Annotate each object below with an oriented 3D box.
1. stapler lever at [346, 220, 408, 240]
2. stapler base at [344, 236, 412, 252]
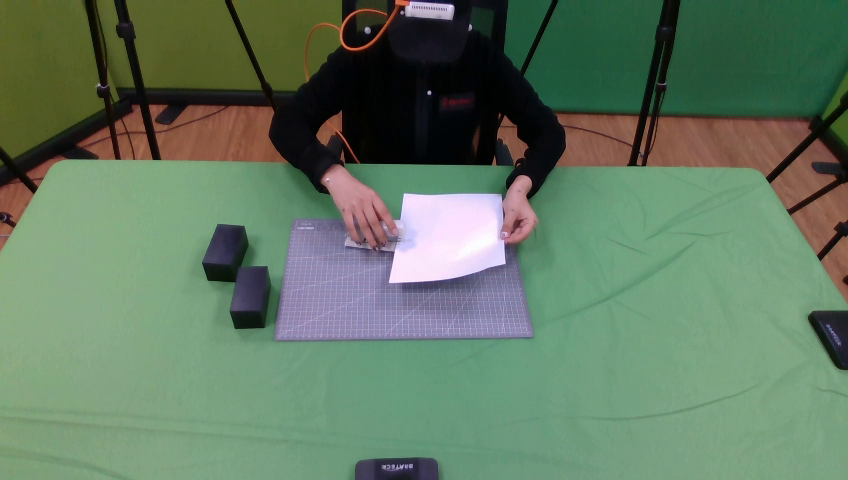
[{"bbox_3d":[-0.090,-0.022,1.170,0.118,0.040,0.026,5,39,3],"label":"stapler lever"},{"bbox_3d":[-0.089,-0.003,1.186,0.130,0.024,0.041,5,39,3],"label":"stapler base"}]
